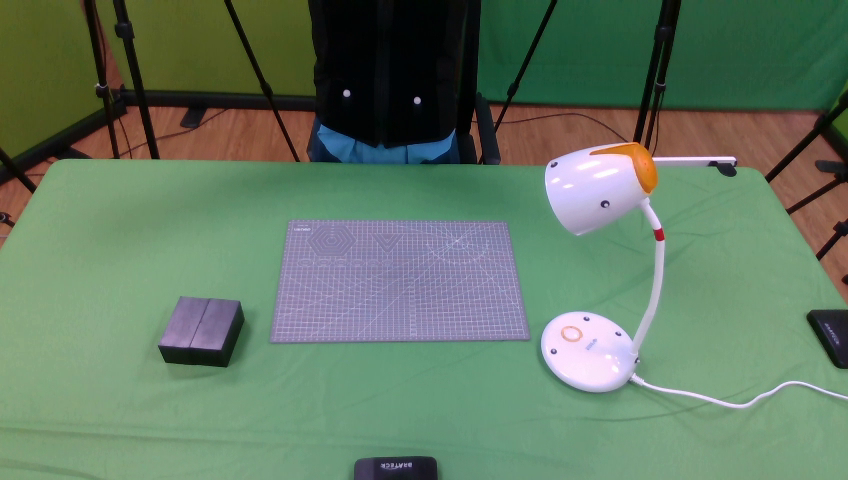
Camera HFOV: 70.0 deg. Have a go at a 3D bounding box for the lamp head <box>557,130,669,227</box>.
[{"bbox_3d":[0.251,-0.085,0.784,0.123,0.113,0.112,-20,38,29],"label":"lamp head"}]

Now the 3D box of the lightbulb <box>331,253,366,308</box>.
[{"bbox_3d":[-0.131,0.074,1.094,0.059,0.060,0.107,-15,65,-18],"label":"lightbulb"}]

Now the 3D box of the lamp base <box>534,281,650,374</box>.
[{"bbox_3d":[0.287,0.113,0.999,0.179,0.181,0.160,13,47,5],"label":"lamp base"}]
